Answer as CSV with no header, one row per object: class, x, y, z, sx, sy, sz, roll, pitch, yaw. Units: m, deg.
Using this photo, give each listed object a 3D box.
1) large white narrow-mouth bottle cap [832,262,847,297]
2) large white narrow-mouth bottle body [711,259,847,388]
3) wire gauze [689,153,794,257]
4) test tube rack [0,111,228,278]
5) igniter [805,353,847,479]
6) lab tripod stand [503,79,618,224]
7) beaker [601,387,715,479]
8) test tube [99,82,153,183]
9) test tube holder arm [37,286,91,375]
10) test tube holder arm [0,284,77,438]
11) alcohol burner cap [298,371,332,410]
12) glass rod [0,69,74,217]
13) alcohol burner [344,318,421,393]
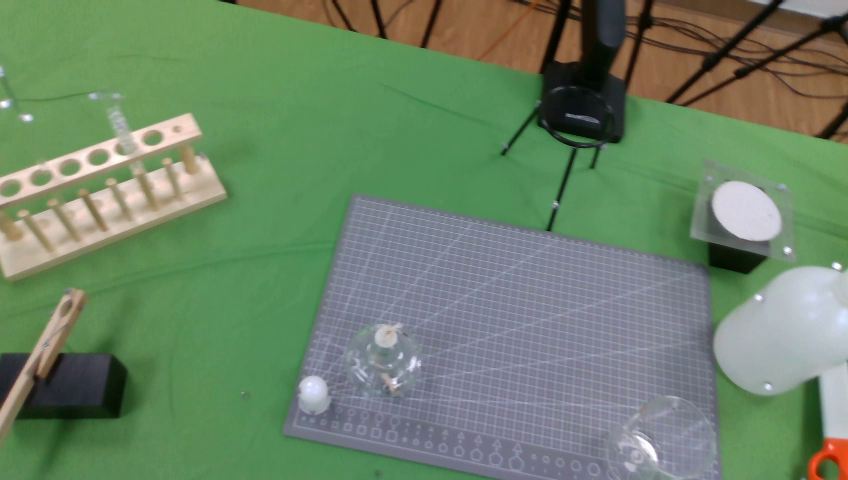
large white narrow-mouth bottle cap,0.392,0.034,0.546,0.038,0.024,0.037,3,60,-4
large white narrow-mouth bottle body,0.384,0.078,0.620,0.102,0.196,0.101,3,60,-4
wire gauze,0.390,-0.043,0.739,0.121,0.011,0.124,19,60,4
test tube rack,-0.352,-0.052,0.667,0.242,0.086,0.066,-25,67,-19
igniter,0.429,0.211,0.631,0.057,0.025,0.274,-2,49,30
lab tripod stand,0.170,-0.112,0.736,0.148,0.132,0.147,4,62,-6
beaker,0.218,0.193,0.587,0.084,0.101,0.073,9,60,-1
test tube,-0.314,-0.108,0.645,0.017,0.151,0.017,4,58,-6
test tube holder arm,-0.345,0.085,0.575,0.010,0.015,0.087,15,59,2
test tube holder arm,-0.360,0.121,0.552,0.013,0.015,0.177,14,59,1
alcohol burner cap,-0.110,0.149,0.606,0.034,0.048,0.033,2,62,-4
glass rod,-0.384,-0.087,0.606,0.008,0.201,0.008,5,52,-6
alcohol burner,-0.039,0.108,0.596,0.078,0.120,0.077,4,60,-7
